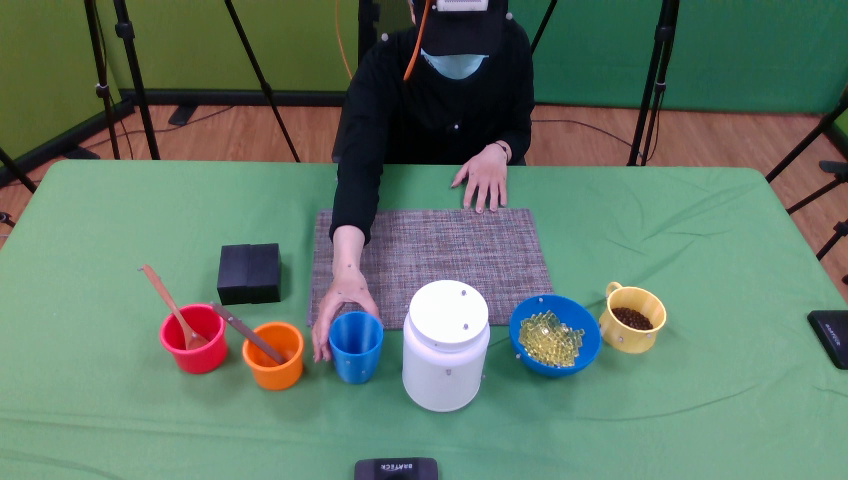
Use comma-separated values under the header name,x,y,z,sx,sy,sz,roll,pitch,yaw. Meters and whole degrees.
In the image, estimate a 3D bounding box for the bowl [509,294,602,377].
name,x,y,z,sx,sy,sz,roll,pitch,yaw
bowl,0.211,0.172,1.007,0.151,0.077,0.150,2,46,-2

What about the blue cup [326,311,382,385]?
name,x,y,z,sx,sy,sz,roll,pitch,yaw
blue cup,-0.110,0.178,0.962,0.093,0.101,0.092,3,45,-3

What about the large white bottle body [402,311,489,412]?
name,x,y,z,sx,sy,sz,roll,pitch,yaw
large white bottle body,0.031,0.163,0.928,0.131,0.185,0.130,2,46,-1

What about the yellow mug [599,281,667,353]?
name,x,y,z,sx,sy,sz,roll,pitch,yaw
yellow mug,0.359,0.127,1.069,0.100,0.064,0.130,-12,47,-14

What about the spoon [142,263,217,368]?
name,x,y,z,sx,sy,sz,roll,pitch,yaw
spoon,-0.392,0.120,0.968,0.041,0.021,0.194,-33,100,-29

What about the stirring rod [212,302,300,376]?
name,x,y,z,sx,sy,sz,roll,pitch,yaw
stirring rod,-0.261,0.156,0.948,0.177,0.006,0.014,45,46,-20

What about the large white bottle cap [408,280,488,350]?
name,x,y,z,sx,sy,sz,roll,pitch,yaw
large white bottle cap,0.034,0.105,0.867,0.115,0.018,0.114,2,46,-1
